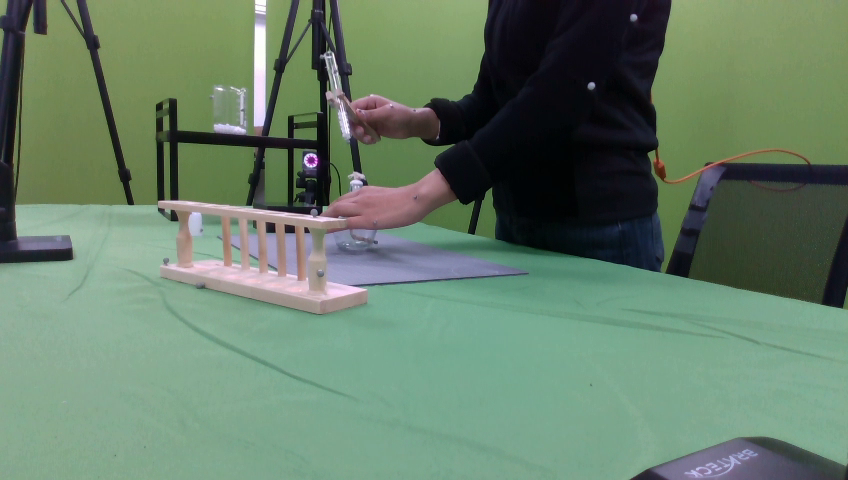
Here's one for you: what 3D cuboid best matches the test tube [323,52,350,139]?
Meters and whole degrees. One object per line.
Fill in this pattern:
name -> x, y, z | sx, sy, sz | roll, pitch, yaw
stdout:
test tube -> -0.137, -0.227, 0.947 | 0.017, 0.150, 0.017 | -13, -14, -3

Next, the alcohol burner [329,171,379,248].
alcohol burner -> -0.108, -0.048, 0.933 | 0.078, 0.119, 0.078 | 2, 3, 0

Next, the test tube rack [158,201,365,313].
test tube rack -> -0.174, 0.009, 0.624 | 0.241, 0.085, 0.067 | 7, 9, 34

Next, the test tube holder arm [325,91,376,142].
test tube holder arm -> -0.119, -0.204, 1.010 | 0.013, 0.015, 0.179 | -10, -16, 16

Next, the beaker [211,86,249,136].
beaker -> -0.413, -0.274, 1.297 | 0.074, 0.100, 0.083 | -5, 11, -44

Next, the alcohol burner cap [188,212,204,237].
alcohol burner cap -> -0.390, -0.029, 1.025 | 0.034, 0.048, 0.034 | 2, 9, 0

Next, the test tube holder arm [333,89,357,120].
test tube holder arm -> -0.126, -0.215, 0.966 | 0.010, 0.015, 0.088 | -9, -15, 10
